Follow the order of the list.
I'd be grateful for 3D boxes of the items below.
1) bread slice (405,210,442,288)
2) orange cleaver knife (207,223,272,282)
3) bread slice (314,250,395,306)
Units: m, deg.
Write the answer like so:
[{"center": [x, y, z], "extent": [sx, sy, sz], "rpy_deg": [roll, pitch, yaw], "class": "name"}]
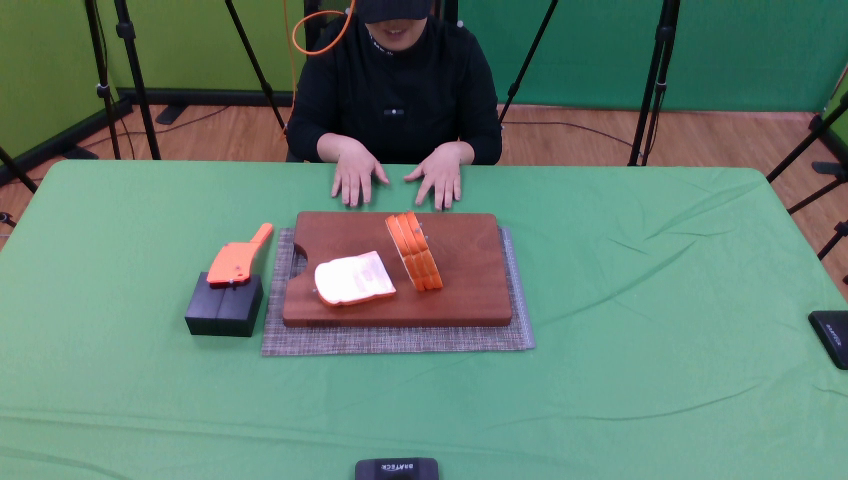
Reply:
[{"center": [-0.003, 0.013, 1.073], "extent": [0.018, 0.135, 0.106], "rpy_deg": [-22, 50, -2], "class": "bread slice"}, {"center": [-0.337, 0.020, 1.122], "extent": [0.077, 0.012, 0.210], "rpy_deg": [3, 29, 3], "class": "orange cleaver knife"}, {"center": [-0.130, 0.071, 1.077], "extent": [0.132, 0.019, 0.104], "rpy_deg": [-11, 49, -20], "class": "bread slice"}]
